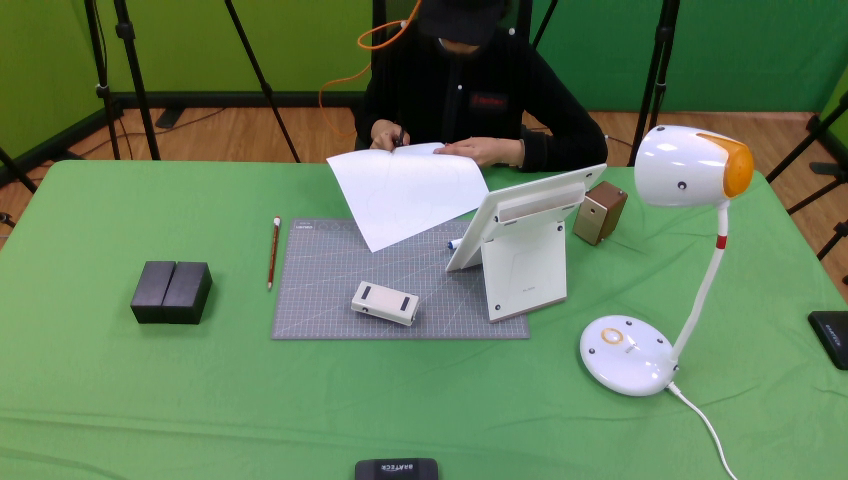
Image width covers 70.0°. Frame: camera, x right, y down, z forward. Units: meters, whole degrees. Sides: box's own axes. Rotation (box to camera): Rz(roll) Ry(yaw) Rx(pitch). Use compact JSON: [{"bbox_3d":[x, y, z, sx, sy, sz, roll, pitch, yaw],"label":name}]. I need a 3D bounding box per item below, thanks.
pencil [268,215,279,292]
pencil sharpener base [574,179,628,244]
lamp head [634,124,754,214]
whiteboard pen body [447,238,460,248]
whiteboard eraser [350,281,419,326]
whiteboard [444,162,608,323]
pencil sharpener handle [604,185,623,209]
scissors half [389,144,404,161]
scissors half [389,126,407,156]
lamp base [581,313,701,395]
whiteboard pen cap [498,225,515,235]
[{"bbox_3d":[-0.290,0.022,1.164,0.012,0.012,0.192,-2,48,-6],"label":"pencil"},{"bbox_3d":[0.355,-0.057,1.217,0.076,0.107,0.061,-33,56,-31],"label":"pencil sharpener base"},{"bbox_3d":[0.351,-0.089,0.776,0.112,0.113,0.122,-30,30,-28],"label":"lamp head"},{"bbox_3d":[0.112,-0.005,1.204,0.141,0.017,0.017,-14,49,-18],"label":"whiteboard pen body"},{"bbox_3d":[-0.069,0.113,1.065,0.112,0.042,0.055,14,46,9],"label":"whiteboard eraser"},{"bbox_3d":[0.186,0.025,1.029,0.217,0.306,0.143,-14,68,-18],"label":"whiteboard"},{"bbox_3d":[0.390,-0.091,1.235,0.030,0.068,0.036,-33,69,-31],"label":"pencil sharpener handle"},{"bbox_3d":[-0.063,-0.194,1.326,0.013,0.040,0.175,18,7,2],"label":"scissors half"},{"bbox_3d":[-0.057,-0.213,1.320,0.013,0.040,0.174,13,29,4],"label":"scissors half"},{"bbox_3d":[0.361,0.144,0.972,0.178,0.181,0.160,34,53,23],"label":"lamp base"},{"bbox_3d":[0.166,-0.019,1.222,0.033,0.018,0.018,-14,49,-19],"label":"whiteboard pen cap"}]
